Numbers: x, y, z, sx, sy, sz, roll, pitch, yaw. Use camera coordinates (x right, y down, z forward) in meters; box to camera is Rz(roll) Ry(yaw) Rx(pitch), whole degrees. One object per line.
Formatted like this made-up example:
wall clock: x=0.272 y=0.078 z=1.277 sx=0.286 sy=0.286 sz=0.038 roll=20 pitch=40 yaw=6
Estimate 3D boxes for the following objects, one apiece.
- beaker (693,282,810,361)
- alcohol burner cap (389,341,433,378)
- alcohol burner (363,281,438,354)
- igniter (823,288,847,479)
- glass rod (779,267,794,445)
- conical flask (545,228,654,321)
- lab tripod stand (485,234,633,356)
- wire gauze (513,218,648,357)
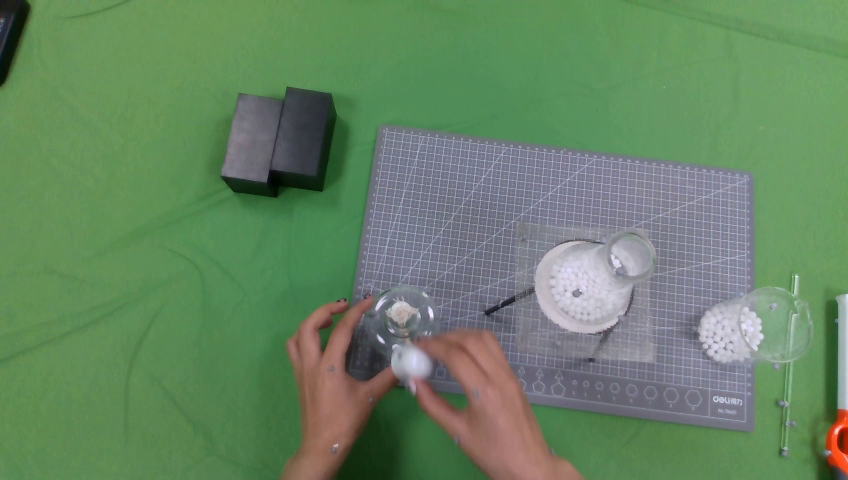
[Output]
beaker: x=0.336 y=0.087 z=0.630 sx=0.084 sy=0.100 sz=0.073 roll=-29 pitch=79 yaw=-9
alcohol burner cap: x=-0.010 y=0.105 z=0.534 sx=0.034 sy=0.048 sz=0.033 roll=4 pitch=78 yaw=-17
alcohol burner: x=-0.023 y=0.076 z=0.612 sx=0.078 sy=0.119 sz=0.077 roll=1 pitch=74 yaw=-2
igniter: x=0.456 y=0.189 z=0.650 sx=0.057 sy=0.025 sz=0.275 roll=12 pitch=77 yaw=-9
glass rod: x=0.404 y=0.126 z=0.673 sx=0.008 sy=0.008 sz=0.199 roll=11 pitch=76 yaw=1
conical flask: x=0.146 y=0.023 z=0.492 sx=0.075 sy=0.122 sz=0.075 roll=0 pitch=76 yaw=-1
lab tripod stand: x=0.141 y=0.055 z=0.613 sx=0.148 sy=0.132 sz=0.147 roll=0 pitch=78 yaw=-1
wire gauze: x=0.143 y=0.041 z=0.549 sx=0.125 sy=0.011 sz=0.121 roll=4 pitch=79 yaw=-3
